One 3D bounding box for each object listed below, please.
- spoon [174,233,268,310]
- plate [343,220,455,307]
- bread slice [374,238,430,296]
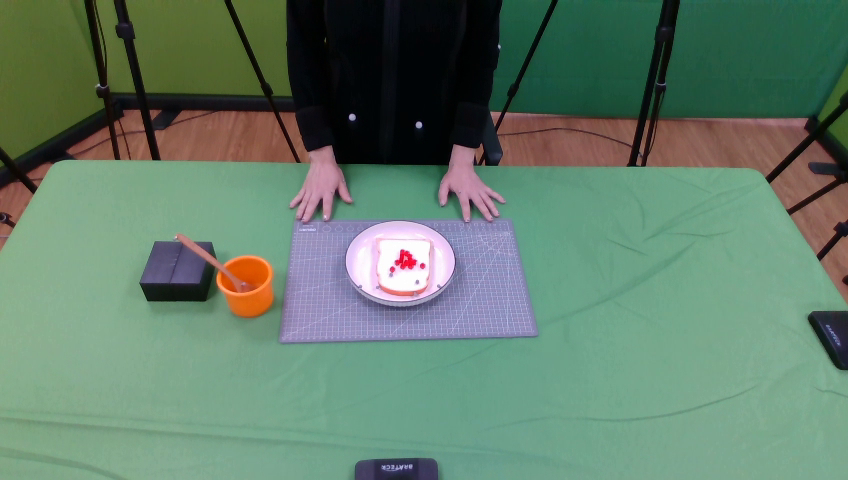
[{"bbox_3d":[-0.344,0.052,1.033,0.021,0.194,0.041,-19,32,42],"label":"spoon"},{"bbox_3d":[-0.047,0.046,1.135,0.209,0.038,0.208,2,46,-2],"label":"plate"},{"bbox_3d":[-0.039,0.048,1.135,0.107,0.018,0.133,-1,47,-4],"label":"bread slice"}]
